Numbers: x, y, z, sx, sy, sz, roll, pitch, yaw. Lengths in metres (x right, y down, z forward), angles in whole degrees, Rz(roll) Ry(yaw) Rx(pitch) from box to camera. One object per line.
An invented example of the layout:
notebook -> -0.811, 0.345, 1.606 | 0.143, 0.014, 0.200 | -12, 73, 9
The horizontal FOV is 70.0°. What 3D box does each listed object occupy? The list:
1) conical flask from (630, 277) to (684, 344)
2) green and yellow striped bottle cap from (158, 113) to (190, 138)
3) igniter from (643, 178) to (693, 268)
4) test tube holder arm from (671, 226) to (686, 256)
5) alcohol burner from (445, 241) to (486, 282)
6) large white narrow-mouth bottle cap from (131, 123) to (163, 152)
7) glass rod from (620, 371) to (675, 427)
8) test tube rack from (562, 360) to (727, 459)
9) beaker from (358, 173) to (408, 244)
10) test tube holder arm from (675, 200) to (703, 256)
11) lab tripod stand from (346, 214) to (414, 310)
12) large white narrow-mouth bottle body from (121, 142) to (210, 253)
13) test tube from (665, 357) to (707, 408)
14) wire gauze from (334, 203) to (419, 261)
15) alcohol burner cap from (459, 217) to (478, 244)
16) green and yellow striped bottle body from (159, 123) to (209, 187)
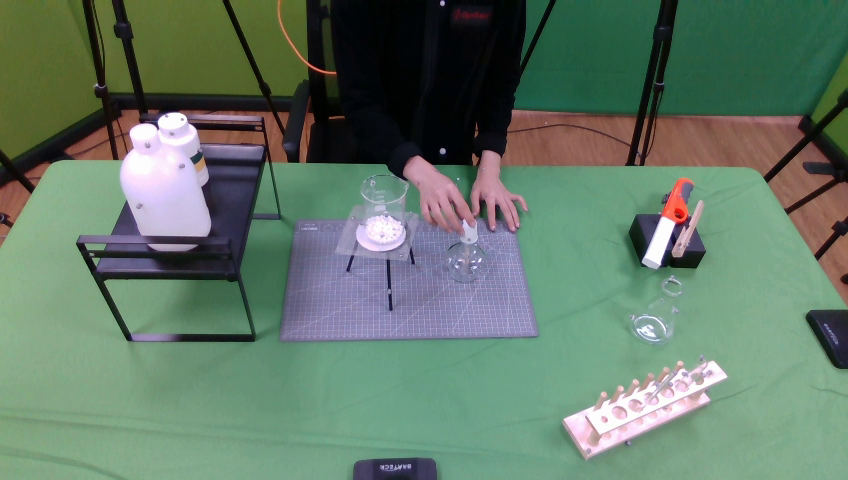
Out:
conical flask -> 0.408, 0.117, 1.045 | 0.075, 0.122, 0.075 | 2, 46, -2
green and yellow striped bottle cap -> -0.393, -0.180, 0.951 | 0.045, 0.020, 0.045 | 2, 44, -2
igniter -> 0.488, -0.042, 1.205 | 0.057, 0.025, 0.276 | 30, 51, 11
test tube holder arm -> 0.494, 0.001, 1.167 | 0.010, 0.015, 0.087 | 1, 36, 42
alcohol burner -> 0.077, 0.021, 1.115 | 0.078, 0.120, 0.077 | 1, 48, -1
large white narrow-mouth bottle cap -> -0.371, -0.138, 0.812 | 0.038, 0.024, 0.037 | 3, 46, -3
glass rod -> 0.315, 0.230, 0.863 | 0.008, 0.200, 0.008 | 3, 54, -3
test tube rack -> 0.341, 0.247, 0.940 | 0.243, 0.085, 0.066 | -16, 49, -19
beaker -> -0.066, -0.050, 1.001 | 0.084, 0.101, 0.073 | -18, 49, -20
test tube holder arm -> 0.523, -0.025, 1.190 | 0.013, 0.015, 0.178 | 1, 36, 41
lab tripod stand -> -0.075, 0.030, 1.082 | 0.148, 0.132, 0.147 | 1, 47, -1
large white narrow-mouth bottle body -> -0.378, -0.077, 0.875 | 0.102, 0.195, 0.101 | 3, 46, -3
test tube -> 0.387, 0.215, 0.905 | 0.017, 0.151, 0.017 | 1, 52, -1
wire gauze -> -0.079, -0.013, 1.031 | 0.121, 0.011, 0.124 | 8, 48, 7
alcohol burner cap -> 0.080, -0.019, 1.075 | 0.034, 0.048, 0.033 | -2, 45, 2
green and yellow striped bottle body -> -0.395, -0.145, 0.989 | 0.063, 0.120, 0.063 | 2, 46, -2
